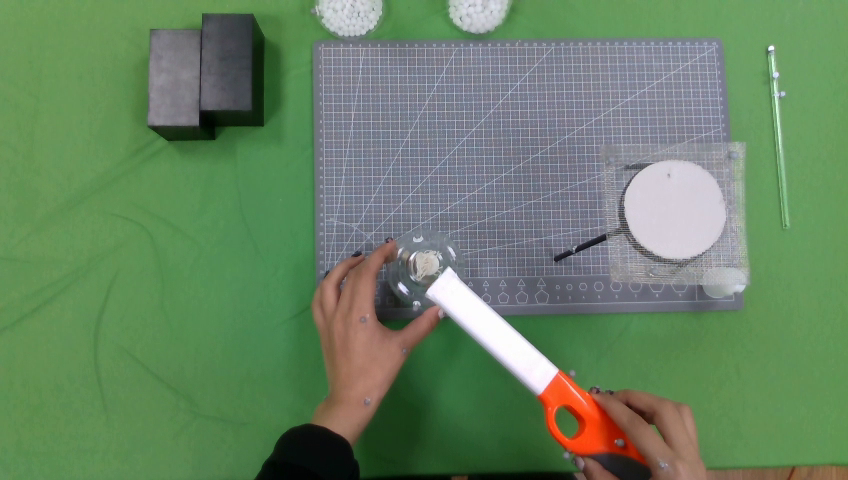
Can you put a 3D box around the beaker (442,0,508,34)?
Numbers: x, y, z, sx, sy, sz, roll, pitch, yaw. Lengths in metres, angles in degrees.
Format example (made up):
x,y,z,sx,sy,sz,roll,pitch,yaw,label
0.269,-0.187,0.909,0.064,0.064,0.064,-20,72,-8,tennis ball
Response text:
x,y,z,sx,sy,sz,roll,pitch,yaw,label
0.058,-0.262,0.619,0.084,0.100,0.074,34,84,1,beaker

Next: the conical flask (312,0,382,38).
x,y,z,sx,sy,sz,roll,pitch,yaw,label
-0.081,-0.260,0.601,0.075,0.122,0.075,0,84,-3,conical flask

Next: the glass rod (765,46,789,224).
x,y,z,sx,sy,sz,roll,pitch,yaw,label
0.387,-0.116,0.663,0.008,0.008,0.199,-2,84,-3,glass rod

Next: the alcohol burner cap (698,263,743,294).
x,y,z,sx,sy,sz,roll,pitch,yaw,label
0.309,0.039,0.626,0.034,0.048,0.034,0,84,-2,alcohol burner cap

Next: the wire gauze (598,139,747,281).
x,y,z,sx,sy,sz,roll,pitch,yaw,label
0.212,-0.026,0.514,0.125,0.011,0.121,0,85,-1,wire gauze

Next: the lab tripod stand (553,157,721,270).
x,y,z,sx,sy,sz,roll,pitch,yaw,label
0.205,-0.017,0.581,0.148,0.131,0.148,0,86,-2,lab tripod stand

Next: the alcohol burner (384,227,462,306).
x,y,z,sx,sy,sz,roll,pitch,yaw,label
0.000,0.024,0.578,0.078,0.119,0.077,0,86,-2,alcohol burner

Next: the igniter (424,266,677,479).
x,y,z,sx,sy,sz,roll,pitch,yaw,label
0.109,0.127,0.511,0.276,0.025,0.057,43,72,2,igniter
